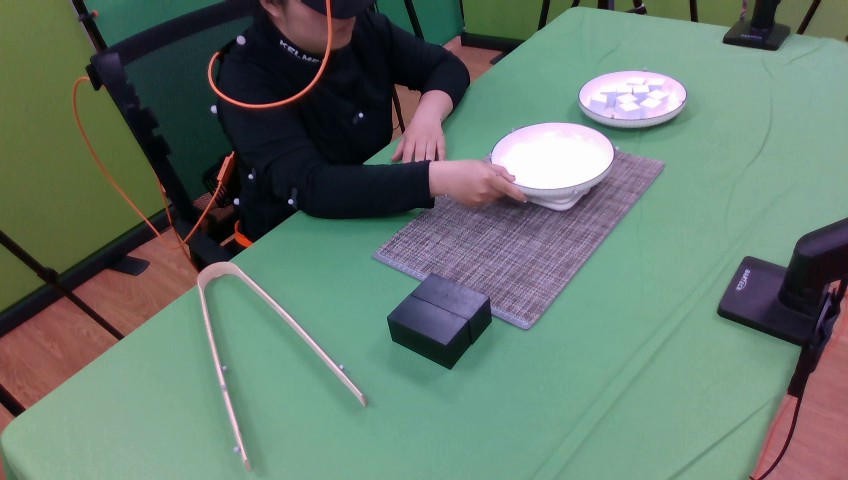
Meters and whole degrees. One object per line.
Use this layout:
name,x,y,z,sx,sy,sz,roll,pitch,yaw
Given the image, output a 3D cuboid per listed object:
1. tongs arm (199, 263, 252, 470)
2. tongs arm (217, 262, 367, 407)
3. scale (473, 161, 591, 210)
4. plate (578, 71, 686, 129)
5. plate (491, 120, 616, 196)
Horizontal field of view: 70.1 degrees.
tongs arm,-0.269,0.154,0.841,0.051,0.026,0.381,-23,41,-17
tongs arm,-0.200,0.122,0.871,0.028,0.028,0.384,-36,46,-24
scale,0.202,-0.121,1.074,0.199,0.032,0.149,23,49,33
plate,0.416,-0.279,1.222,0.209,0.038,0.208,-5,41,5
plate,0.221,-0.137,1.038,0.207,0.039,0.206,-6,41,5
